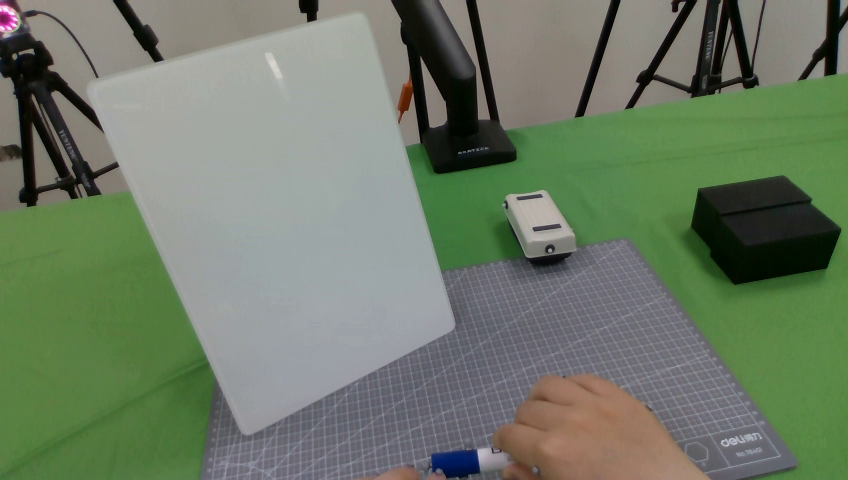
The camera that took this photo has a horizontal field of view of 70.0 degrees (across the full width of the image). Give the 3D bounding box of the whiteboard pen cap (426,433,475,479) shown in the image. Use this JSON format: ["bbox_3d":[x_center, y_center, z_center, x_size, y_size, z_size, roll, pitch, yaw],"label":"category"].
[{"bbox_3d":[0.017,0.146,0.402,0.033,0.018,0.018,-47,48,-9],"label":"whiteboard pen cap"}]

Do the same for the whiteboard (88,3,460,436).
[{"bbox_3d":[-0.126,-0.026,0.557,0.217,0.307,0.142,-24,21,-20],"label":"whiteboard"}]

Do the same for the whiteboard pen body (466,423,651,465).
[{"bbox_3d":[0.080,0.137,0.404,0.141,0.017,0.017,-7,37,2],"label":"whiteboard pen body"}]

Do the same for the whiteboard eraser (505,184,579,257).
[{"bbox_3d":[0.131,-0.022,0.683,0.055,0.042,0.111,-10,33,-2],"label":"whiteboard eraser"}]
